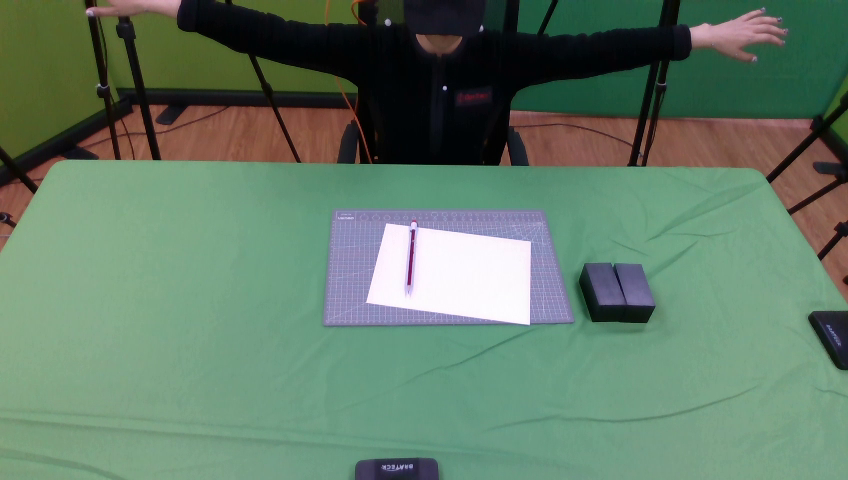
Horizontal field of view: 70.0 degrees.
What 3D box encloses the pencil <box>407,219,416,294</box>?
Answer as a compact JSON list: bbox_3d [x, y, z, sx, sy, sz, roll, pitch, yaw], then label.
[{"bbox_3d":[-0.025,0.028,1.172,0.012,0.012,0.193,3,46,0],"label":"pencil"}]
